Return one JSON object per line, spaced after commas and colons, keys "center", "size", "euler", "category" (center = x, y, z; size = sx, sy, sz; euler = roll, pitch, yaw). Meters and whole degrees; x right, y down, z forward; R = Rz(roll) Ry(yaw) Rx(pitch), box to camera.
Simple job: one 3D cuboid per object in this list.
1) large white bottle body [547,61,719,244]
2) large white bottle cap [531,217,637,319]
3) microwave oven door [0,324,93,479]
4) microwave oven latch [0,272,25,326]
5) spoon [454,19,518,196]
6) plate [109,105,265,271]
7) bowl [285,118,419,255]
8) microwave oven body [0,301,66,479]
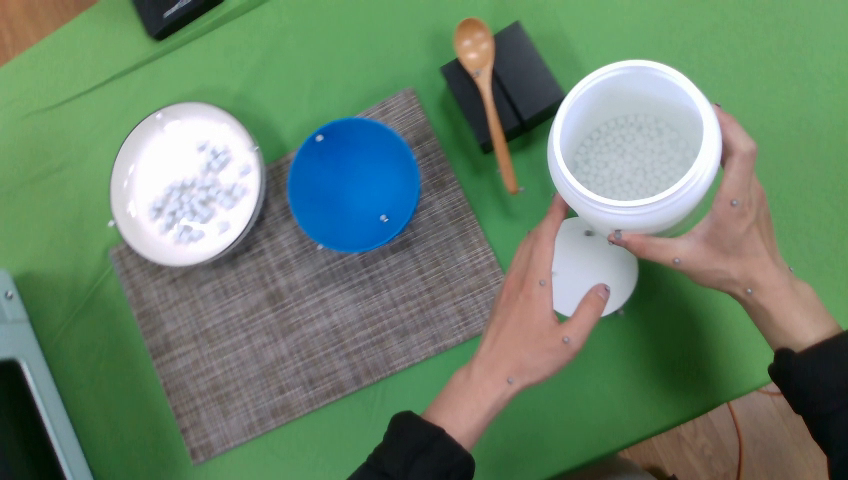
{"center": [0.177, -0.068, 0.521], "size": [0.130, 0.185, 0.130], "euler": [-2, 84, 20], "category": "large white bottle body"}
{"center": [0.177, 0.031, 0.672], "size": [0.114, 0.018, 0.114], "euler": [-1, 86, 10], "category": "large white bottle cap"}
{"center": [-0.472, 0.263, 0.654], "size": [0.039, 0.244, 0.354], "euler": [-29, 81, 8], "category": "microwave oven door"}
{"center": [-0.550, 0.078, 0.783], "size": [0.030, 0.029, 0.079], "euler": [-28, 82, 8], "category": "microwave oven latch"}
{"center": [0.071, -0.141, 0.655], "size": [0.041, 0.021, 0.193], "euler": [-14, 89, 7], "category": "spoon"}
{"center": [-0.291, -0.063, 0.756], "size": [0.208, 0.038, 0.208], "euler": [-1, 84, 12], "category": "plate"}
{"center": [-0.072, -0.055, 0.692], "size": [0.151, 0.077, 0.151], "euler": [-1, 86, 11], "category": "bowl"}
{"center": [-0.617, 0.297, 0.685], "size": [0.326, 0.261, 0.440], "euler": [-29, 82, 7], "category": "microwave oven body"}
